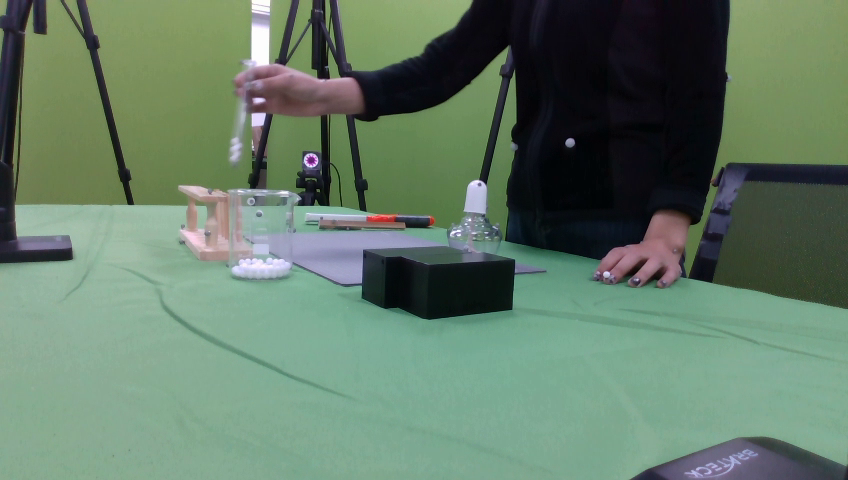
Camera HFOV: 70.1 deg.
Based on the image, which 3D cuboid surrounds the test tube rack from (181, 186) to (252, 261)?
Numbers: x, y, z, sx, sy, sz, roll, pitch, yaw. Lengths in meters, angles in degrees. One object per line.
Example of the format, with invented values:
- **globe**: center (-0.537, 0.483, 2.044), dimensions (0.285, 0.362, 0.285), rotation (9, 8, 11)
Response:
- **test tube rack**: center (-0.312, -0.031, 0.893), dimensions (0.067, 0.085, 0.241), rotation (-1, 8, -27)

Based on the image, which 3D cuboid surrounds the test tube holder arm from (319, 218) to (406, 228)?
- **test tube holder arm**: center (-0.121, -0.033, 1.214), dimensions (0.179, 0.015, 0.013), rotation (0, -24, -20)

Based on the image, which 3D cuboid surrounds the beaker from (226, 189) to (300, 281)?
- **beaker**: center (-0.184, -0.007, 0.694), dimensions (0.084, 0.100, 0.073), rotation (-1, 8, -29)

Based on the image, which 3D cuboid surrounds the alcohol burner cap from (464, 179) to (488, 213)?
- **alcohol burner cap**: center (0.073, -0.060, 0.824), dimensions (0.034, 0.048, 0.034), rotation (7, 3, 0)

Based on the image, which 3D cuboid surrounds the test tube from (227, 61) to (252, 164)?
- **test tube**: center (-0.262, -0.182, 0.862), dimensions (0.017, 0.150, 0.017), rotation (6, -7, 1)

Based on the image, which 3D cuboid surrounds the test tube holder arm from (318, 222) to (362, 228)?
- **test tube holder arm**: center (-0.166, -0.031, 1.203), dimensions (0.088, 0.015, 0.010), rotation (0, -24, -19)

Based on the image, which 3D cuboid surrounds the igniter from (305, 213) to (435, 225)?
- **igniter**: center (-0.114, -0.046, 1.299), dimensions (0.277, 0.025, 0.057), rotation (1, -3, -12)

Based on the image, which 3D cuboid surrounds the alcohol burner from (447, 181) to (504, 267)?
- **alcohol burner**: center (0.070, -0.024, 0.828), dimensions (0.078, 0.119, 0.078), rotation (0, 7, 0)
